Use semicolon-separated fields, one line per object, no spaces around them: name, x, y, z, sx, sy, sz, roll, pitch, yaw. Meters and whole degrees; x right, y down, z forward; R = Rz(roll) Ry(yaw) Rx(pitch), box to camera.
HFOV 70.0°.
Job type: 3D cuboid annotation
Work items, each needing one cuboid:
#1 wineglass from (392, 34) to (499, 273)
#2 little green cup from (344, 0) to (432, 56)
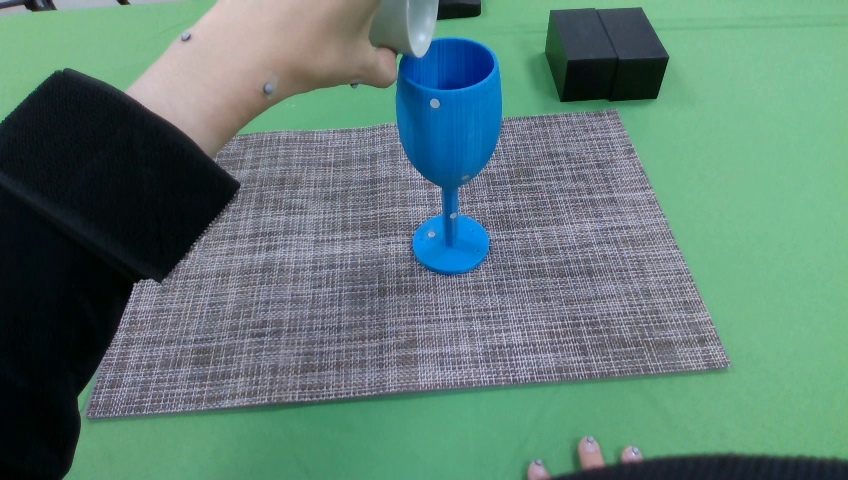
wineglass;0.017;-0.055;0.442;0.074;0.174;0.073;-1;49;2
little green cup;-0.021;-0.144;0.362;0.038;0.062;0.061;11;50;14
